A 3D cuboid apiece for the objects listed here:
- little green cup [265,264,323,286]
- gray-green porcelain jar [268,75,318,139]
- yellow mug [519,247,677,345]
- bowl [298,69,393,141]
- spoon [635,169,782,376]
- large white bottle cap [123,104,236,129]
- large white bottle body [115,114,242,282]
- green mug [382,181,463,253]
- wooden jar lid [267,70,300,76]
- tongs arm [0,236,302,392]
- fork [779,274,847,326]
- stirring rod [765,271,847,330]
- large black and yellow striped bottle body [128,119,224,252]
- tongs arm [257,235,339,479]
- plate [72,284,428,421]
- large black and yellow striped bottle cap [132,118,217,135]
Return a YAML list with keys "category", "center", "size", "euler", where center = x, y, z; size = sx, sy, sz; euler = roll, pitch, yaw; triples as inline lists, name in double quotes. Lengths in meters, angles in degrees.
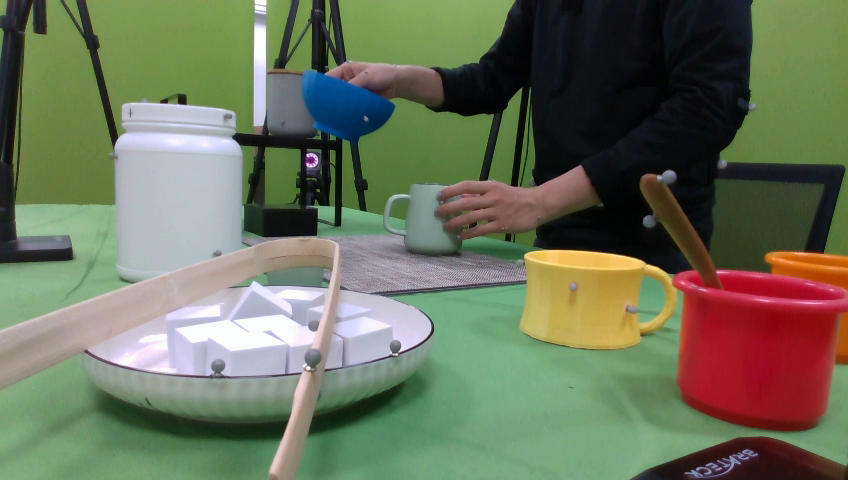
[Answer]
- category: "little green cup"
  center: [-0.134, 0.034, 0.627]
  size: [0.061, 0.038, 0.061]
  euler: [3, 6, 0]
- category: "gray-green porcelain jar"
  center: [-0.277, -0.279, 1.280]
  size: [0.106, 0.126, 0.106]
  euler: [2, 8, 0]
- category: "yellow mug"
  center: [0.148, 0.045, 0.513]
  size: [0.131, 0.064, 0.100]
  euler: [3, 7, 0]
- category: "bowl"
  center: [-0.132, -0.203, 0.949]
  size: [0.151, 0.077, 0.151]
  euler: [18, 5, -1]
- category: "spoon"
  center: [0.161, 0.026, 0.346]
  size: [0.041, 0.194, 0.021]
  euler: [10, 56, 53]
- category: "large white bottle cap"
  center: [-0.266, -0.134, 0.663]
  size: [0.115, 0.018, 0.115]
  euler: [3, 7, 0]
- category: "large white bottle body"
  center: [-0.270, -0.051, 0.673]
  size: [0.131, 0.184, 0.130]
  euler: [2, 8, 0]
- category: "green mug"
  center: [-0.001, -0.036, 0.922]
  size: [0.126, 0.105, 0.092]
  euler: [0, 8, -16]
- category: "wooden jar lid"
  center: [-0.275, -0.339, 1.271]
  size: [0.108, 0.020, 0.108]
  euler: [5, 6, 0]
- category: "tongs arm"
  center: [-0.157, 0.038, 0.347]
  size: [0.028, 0.028, 0.388]
  euler: [-3, 8, 11]
- category: "fork"
  center: [0.332, 0.019, 0.443]
  size: [0.028, 0.018, 0.207]
  euler: [-3, -35, -16]
- category: "stirring rod"
  center: [0.352, 0.020, 0.481]
  size: [0.176, 0.006, 0.014]
  euler: [-40, -8, 17]
- category: "large black and yellow striped bottle body"
  center: [-0.361, -0.081, 0.887]
  size: [0.131, 0.184, 0.130]
  euler: [2, 8, 0]
- category: "tongs arm"
  center: [-0.074, 0.040, 0.345]
  size: [0.051, 0.026, 0.384]
  euler: [-1, 10, -3]
- category: "plate"
  center: [-0.102, 0.067, 0.381]
  size: [0.208, 0.039, 0.207]
  euler: [3, 7, 0]
- category: "large black and yellow striped bottle cap"
  center: [-0.359, -0.164, 0.875]
  size: [0.115, 0.019, 0.115]
  euler: [2, 6, 0]
